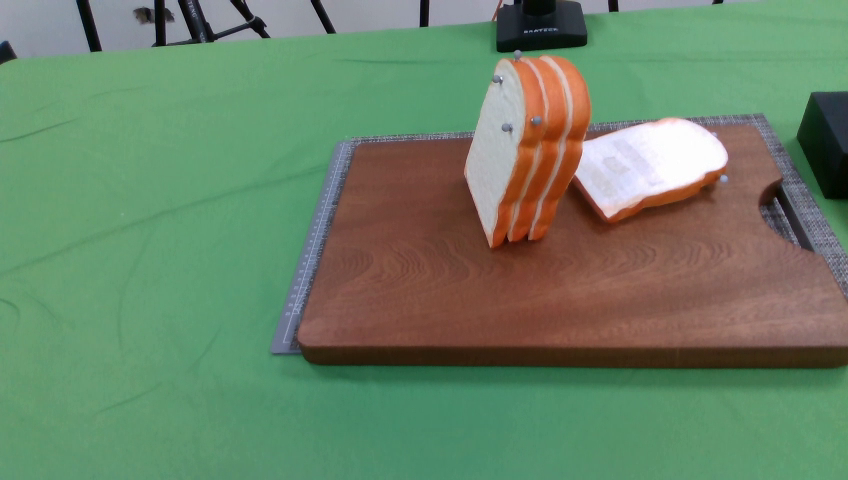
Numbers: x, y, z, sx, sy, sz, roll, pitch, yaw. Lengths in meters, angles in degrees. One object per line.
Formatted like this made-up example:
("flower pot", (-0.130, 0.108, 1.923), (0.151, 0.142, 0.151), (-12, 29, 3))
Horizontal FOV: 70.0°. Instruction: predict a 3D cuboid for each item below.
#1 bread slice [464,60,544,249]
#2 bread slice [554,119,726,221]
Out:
("bread slice", (0.064, -0.078, 0.504), (0.018, 0.135, 0.106), (0, 40, -14))
("bread slice", (0.198, -0.067, 0.543), (0.131, 0.019, 0.103), (-18, 42, -3))
